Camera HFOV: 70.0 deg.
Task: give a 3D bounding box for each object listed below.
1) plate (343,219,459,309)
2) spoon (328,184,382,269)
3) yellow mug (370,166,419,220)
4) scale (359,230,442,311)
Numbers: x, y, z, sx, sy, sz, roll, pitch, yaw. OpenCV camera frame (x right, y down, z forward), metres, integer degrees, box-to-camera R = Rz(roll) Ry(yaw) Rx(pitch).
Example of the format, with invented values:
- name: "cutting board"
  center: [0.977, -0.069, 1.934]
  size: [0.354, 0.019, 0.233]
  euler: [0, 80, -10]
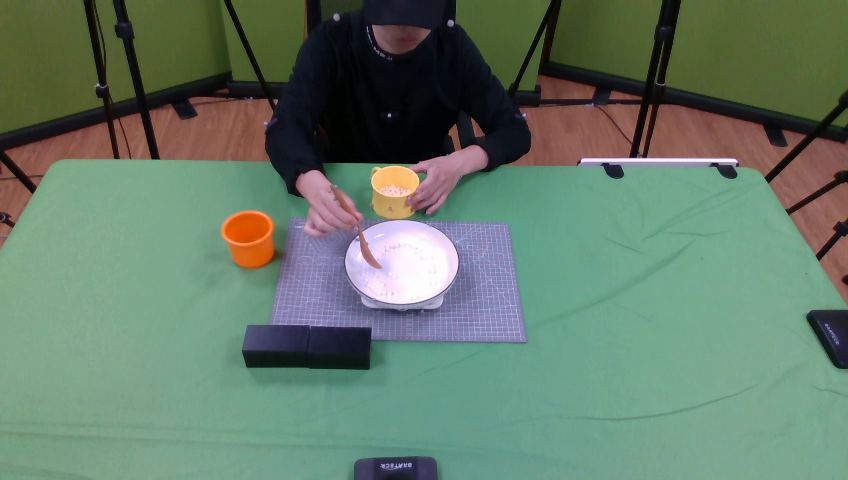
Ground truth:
- name: "plate"
  center: [-0.041, 0.046, 1.094]
  size: [0.209, 0.038, 0.208]
  euler: [2, 46, -1]
- name: "spoon"
  center: [-0.116, -0.020, 1.026]
  size: [0.021, 0.195, 0.041]
  euler: [-38, 37, -21]
- name: "yellow mug"
  center: [-0.072, -0.108, 1.267]
  size: [0.100, 0.064, 0.130]
  euler: [-30, 54, -30]
- name: "scale"
  center: [-0.043, 0.048, 1.138]
  size: [0.149, 0.032, 0.199]
  euler: [2, 45, -3]
